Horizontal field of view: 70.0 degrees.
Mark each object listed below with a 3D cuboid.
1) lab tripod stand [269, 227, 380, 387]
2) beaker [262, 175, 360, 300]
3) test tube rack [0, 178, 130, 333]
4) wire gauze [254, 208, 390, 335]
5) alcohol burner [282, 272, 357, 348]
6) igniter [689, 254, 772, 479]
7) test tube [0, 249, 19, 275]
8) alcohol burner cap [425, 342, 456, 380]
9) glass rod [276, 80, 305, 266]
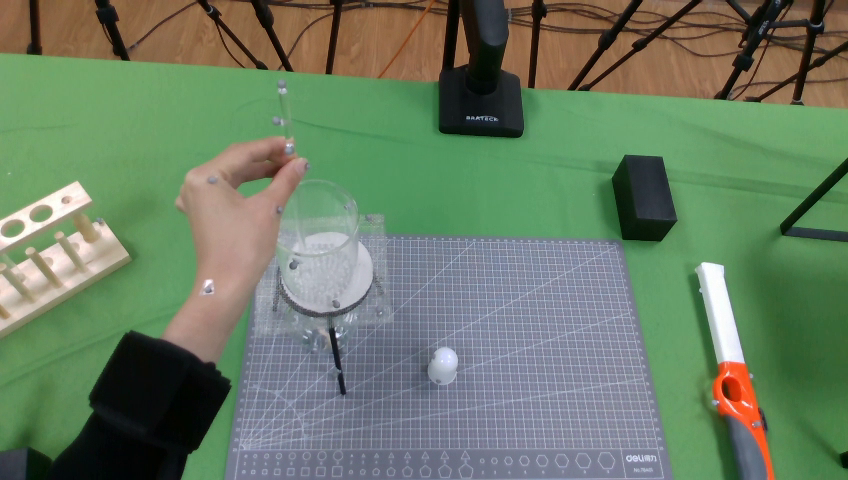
[{"bbox_3d":[-0.098,0.062,0.621,0.148,0.132,0.147,3,60,-5],"label":"lab tripod stand"},{"bbox_3d":[-0.097,0.001,0.524,0.084,0.101,0.073,23,60,8],"label":"beaker"},{"bbox_3d":[-0.449,0.041,0.632,0.242,0.086,0.066,-36,68,-23],"label":"test tube rack"},{"bbox_3d":[-0.097,0.024,0.568,0.121,0.011,0.124,-4,63,-6],"label":"wire gauze"},{"bbox_3d":[-0.109,0.066,0.629,0.078,0.120,0.077,4,58,-5],"label":"alcohol burner"},{"bbox_3d":[0.341,0.140,0.681,0.057,0.025,0.274,9,59,-12],"label":"igniter"},{"bbox_3d":[-0.444,-0.007,0.604,0.017,0.151,0.017,3,54,-4],"label":"test tube"},{"bbox_3d":[0.019,0.127,0.647,0.034,0.048,0.033,2,60,-3],"label":"alcohol burner cap"},{"bbox_3d":[-0.106,-0.042,0.487,0.008,0.201,0.008,3,49,-3],"label":"glass rod"}]
